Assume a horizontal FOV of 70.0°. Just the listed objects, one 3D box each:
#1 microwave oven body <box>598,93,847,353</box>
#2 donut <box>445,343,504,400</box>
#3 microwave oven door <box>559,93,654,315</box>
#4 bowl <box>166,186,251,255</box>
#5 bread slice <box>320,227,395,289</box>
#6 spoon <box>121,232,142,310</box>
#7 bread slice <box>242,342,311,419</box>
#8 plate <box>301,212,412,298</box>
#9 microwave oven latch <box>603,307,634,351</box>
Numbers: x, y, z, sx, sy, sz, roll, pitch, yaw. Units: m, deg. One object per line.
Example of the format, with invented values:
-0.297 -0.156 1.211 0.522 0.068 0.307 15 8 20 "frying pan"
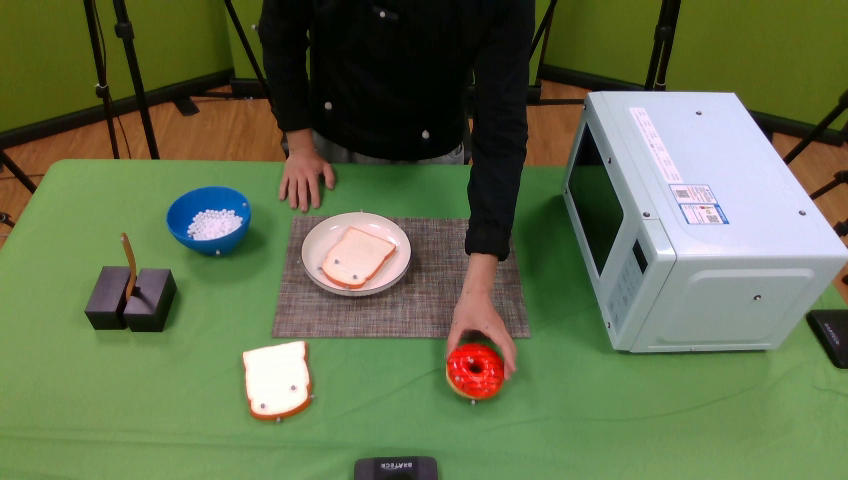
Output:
0.475 -0.041 1.109 0.326 0.261 0.438 -1 45 -4 "microwave oven body"
0.081 0.212 0.977 0.099 0.048 0.098 4 48 -4 "donut"
0.327 -0.074 1.123 0.039 0.245 0.353 -1 46 -5 "microwave oven door"
-0.403 -0.024 1.154 0.151 0.077 0.150 3 46 -2 "bowl"
-0.129 0.037 1.140 0.107 0.018 0.134 19 47 14 "bread slice"
-0.479 0.051 0.994 0.022 0.194 0.041 13 46 -11 "spoon"
-0.234 0.223 0.970 0.105 0.019 0.130 -10 46 -12 "bread slice"
-0.126 0.031 1.146 0.208 0.039 0.206 2 46 -2 "plate"
0.332 0.153 1.044 0.030 0.029 0.078 0 45 -4 "microwave oven latch"
